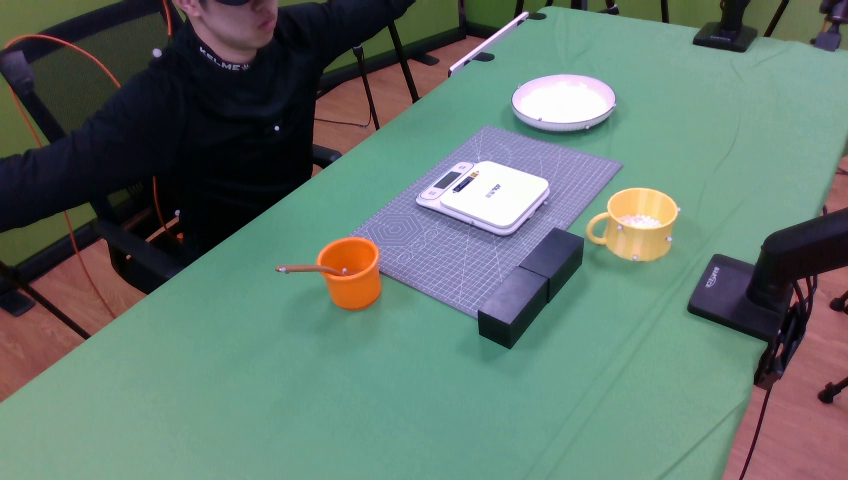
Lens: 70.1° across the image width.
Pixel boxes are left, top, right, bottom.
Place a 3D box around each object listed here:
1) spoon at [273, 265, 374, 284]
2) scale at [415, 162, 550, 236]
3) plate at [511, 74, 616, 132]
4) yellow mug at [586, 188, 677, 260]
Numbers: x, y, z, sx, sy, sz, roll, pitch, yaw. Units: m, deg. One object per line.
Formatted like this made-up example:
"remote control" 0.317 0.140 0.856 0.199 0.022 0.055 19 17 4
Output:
"spoon" -0.136 0.045 0.839 0.041 0.195 0.021 18 91 33
"scale" 0.099 -0.079 1.035 0.199 0.032 0.149 23 48 31
"plate" 0.283 -0.276 1.238 0.209 0.038 0.208 -4 41 4
"yellow mug" 0.311 -0.022 0.916 0.131 0.064 0.099 -8 40 0
